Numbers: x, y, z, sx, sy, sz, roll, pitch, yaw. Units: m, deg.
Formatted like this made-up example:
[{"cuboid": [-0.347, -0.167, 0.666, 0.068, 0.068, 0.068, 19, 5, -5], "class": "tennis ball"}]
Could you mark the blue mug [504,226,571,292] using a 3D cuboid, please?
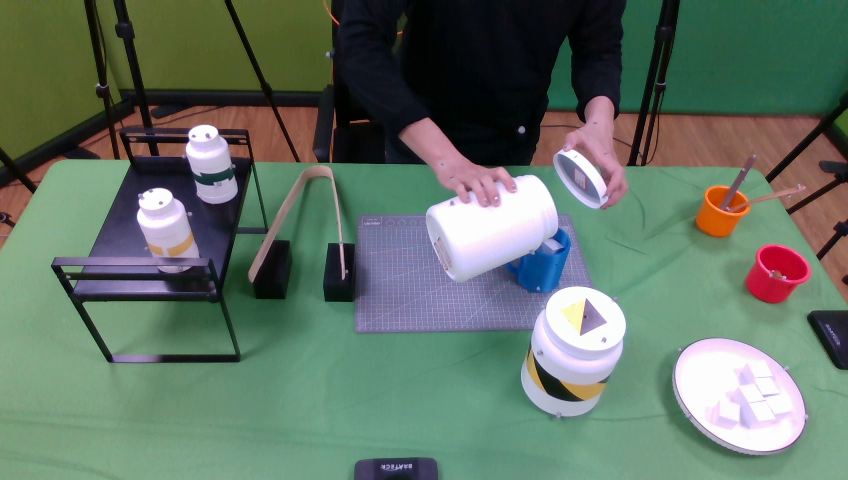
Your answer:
[{"cuboid": [0.203, 0.031, 1.121, 0.116, 0.106, 0.082, 5, 46, 1], "class": "blue mug"}]

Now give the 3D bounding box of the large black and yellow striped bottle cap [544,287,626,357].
[{"cuboid": [0.232, 0.116, 0.876, 0.115, 0.019, 0.114, 2, 45, -1], "class": "large black and yellow striped bottle cap"}]

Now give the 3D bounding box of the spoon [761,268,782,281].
[{"cuboid": [0.638, 0.060, 1.105, 0.041, 0.021, 0.194, 38, 11, 24], "class": "spoon"}]

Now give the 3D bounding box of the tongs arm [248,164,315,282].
[{"cuboid": [-0.269, -0.047, 1.166, 0.028, 0.028, 0.385, -1, 34, 7], "class": "tongs arm"}]

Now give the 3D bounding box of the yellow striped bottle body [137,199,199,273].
[{"cuboid": [-0.366, -0.014, 0.863, 0.063, 0.121, 0.062, 2, 46, -2], "class": "yellow striped bottle body"}]

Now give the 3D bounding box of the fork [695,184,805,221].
[{"cuboid": [0.657, -0.075, 1.230, 0.207, 0.019, 0.028, -23, 34, 37], "class": "fork"}]

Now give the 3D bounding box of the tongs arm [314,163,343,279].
[{"cuboid": [-0.188, -0.049, 1.170, 0.051, 0.026, 0.382, -6, 35, -6], "class": "tongs arm"}]

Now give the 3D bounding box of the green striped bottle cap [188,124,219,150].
[{"cuboid": [-0.339, -0.158, 0.931, 0.044, 0.020, 0.044, 3, 46, -3], "class": "green striped bottle cap"}]

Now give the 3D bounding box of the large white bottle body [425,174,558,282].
[{"cuboid": [0.108, -0.024, 0.973, 0.185, 0.131, 0.129, -23, 52, -10], "class": "large white bottle body"}]

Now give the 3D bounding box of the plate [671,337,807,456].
[{"cuboid": [0.504, 0.253, 0.984, 0.208, 0.039, 0.206, 2, 46, -2], "class": "plate"}]

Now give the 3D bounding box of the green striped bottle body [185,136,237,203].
[{"cuboid": [-0.341, -0.122, 0.969, 0.063, 0.120, 0.063, 2, 46, -2], "class": "green striped bottle body"}]

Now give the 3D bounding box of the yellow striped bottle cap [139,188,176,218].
[{"cuboid": [-0.363, -0.051, 0.826, 0.044, 0.019, 0.044, 0, 47, 0], "class": "yellow striped bottle cap"}]

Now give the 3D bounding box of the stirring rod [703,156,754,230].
[{"cuboid": [0.631, -0.097, 1.258, 0.014, 0.006, 0.176, 33, 95, 29], "class": "stirring rod"}]

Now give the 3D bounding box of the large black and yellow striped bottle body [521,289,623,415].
[{"cuboid": [0.228, 0.173, 0.938, 0.131, 0.185, 0.130, 2, 47, -2], "class": "large black and yellow striped bottle body"}]

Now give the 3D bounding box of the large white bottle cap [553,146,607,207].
[{"cuboid": [0.257, -0.105, 1.002, 0.018, 0.115, 0.114, -38, 56, -3], "class": "large white bottle cap"}]
